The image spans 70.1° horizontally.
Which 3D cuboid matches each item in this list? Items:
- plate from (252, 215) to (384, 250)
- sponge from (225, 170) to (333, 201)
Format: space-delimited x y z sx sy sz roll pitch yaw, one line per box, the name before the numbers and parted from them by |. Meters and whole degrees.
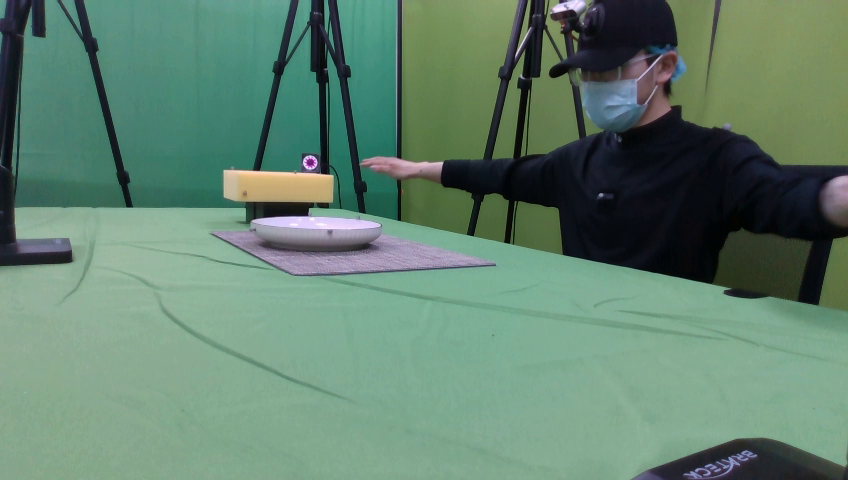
plate | -0.169 -0.012 0.976 0.208 0.039 0.207 2 7 0
sponge | -0.313 -0.117 1.306 0.208 0.061 0.117 -2 8 -31
